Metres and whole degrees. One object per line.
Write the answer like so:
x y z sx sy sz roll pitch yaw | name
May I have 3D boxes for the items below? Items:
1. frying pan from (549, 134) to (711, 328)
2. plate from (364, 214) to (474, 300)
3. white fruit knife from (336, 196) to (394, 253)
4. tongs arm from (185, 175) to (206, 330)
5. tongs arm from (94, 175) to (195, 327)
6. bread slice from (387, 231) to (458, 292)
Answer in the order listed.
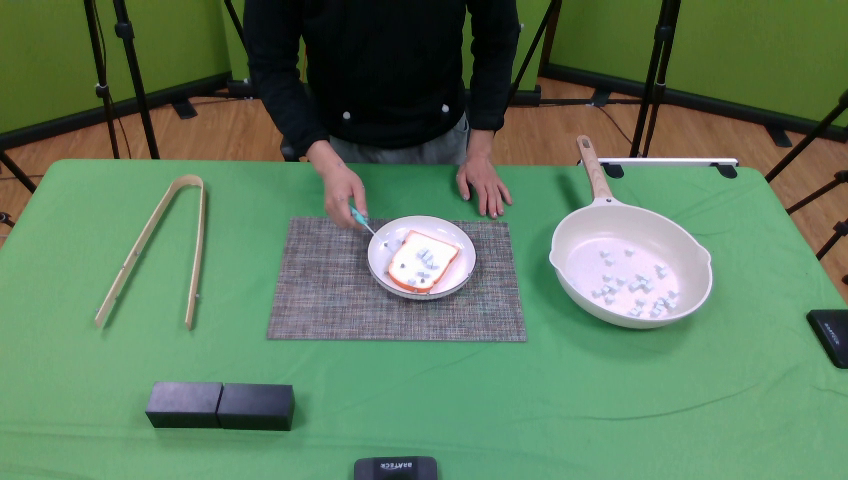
0.372 -0.035 1.203 0.307 0.103 0.484 -1 55 -6 | frying pan
-0.010 0.036 1.146 0.208 0.039 0.206 3 46 -2 | plate
-0.107 -0.031 1.087 0.016 0.027 0.206 -49 47 0 | white fruit knife
-0.436 0.009 1.151 0.028 0.028 0.385 -8 47 -8 | tongs arm
-0.516 0.006 1.142 0.051 0.026 0.382 4 45 -1 | tongs arm
-0.007 0.043 1.142 0.107 0.018 0.134 18 46 14 | bread slice
